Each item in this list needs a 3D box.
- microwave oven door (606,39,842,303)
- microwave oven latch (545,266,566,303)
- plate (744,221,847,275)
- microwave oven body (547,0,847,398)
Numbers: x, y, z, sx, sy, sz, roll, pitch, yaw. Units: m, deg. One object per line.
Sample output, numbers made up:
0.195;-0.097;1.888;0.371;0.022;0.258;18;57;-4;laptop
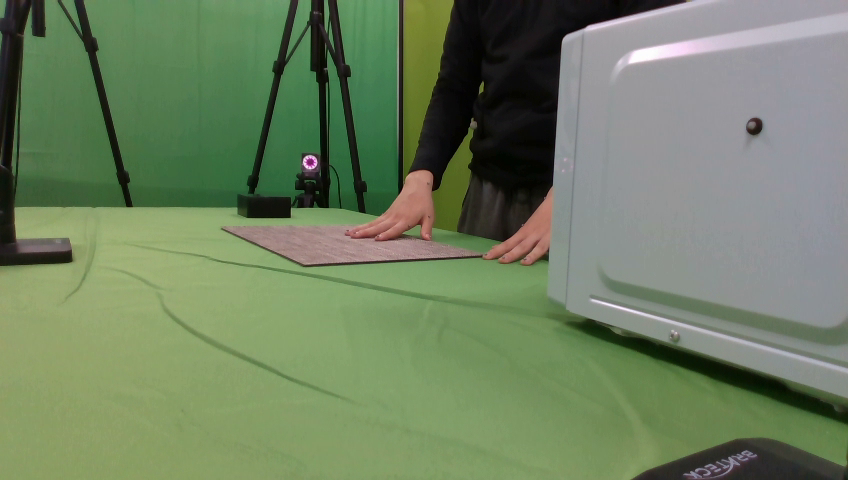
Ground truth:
0.341;-0.070;0.654;0.358;0.243;0.039;-3;9;-31;microwave oven door
0.147;0.038;0.555;0.079;0.029;0.030;-2;7;-29;microwave oven latch
0.407;0.008;0.553;0.209;0.038;0.209;2;6;0;plate
0.378;-0.045;0.509;0.444;0.260;0.324;-2;8;-31;microwave oven body
